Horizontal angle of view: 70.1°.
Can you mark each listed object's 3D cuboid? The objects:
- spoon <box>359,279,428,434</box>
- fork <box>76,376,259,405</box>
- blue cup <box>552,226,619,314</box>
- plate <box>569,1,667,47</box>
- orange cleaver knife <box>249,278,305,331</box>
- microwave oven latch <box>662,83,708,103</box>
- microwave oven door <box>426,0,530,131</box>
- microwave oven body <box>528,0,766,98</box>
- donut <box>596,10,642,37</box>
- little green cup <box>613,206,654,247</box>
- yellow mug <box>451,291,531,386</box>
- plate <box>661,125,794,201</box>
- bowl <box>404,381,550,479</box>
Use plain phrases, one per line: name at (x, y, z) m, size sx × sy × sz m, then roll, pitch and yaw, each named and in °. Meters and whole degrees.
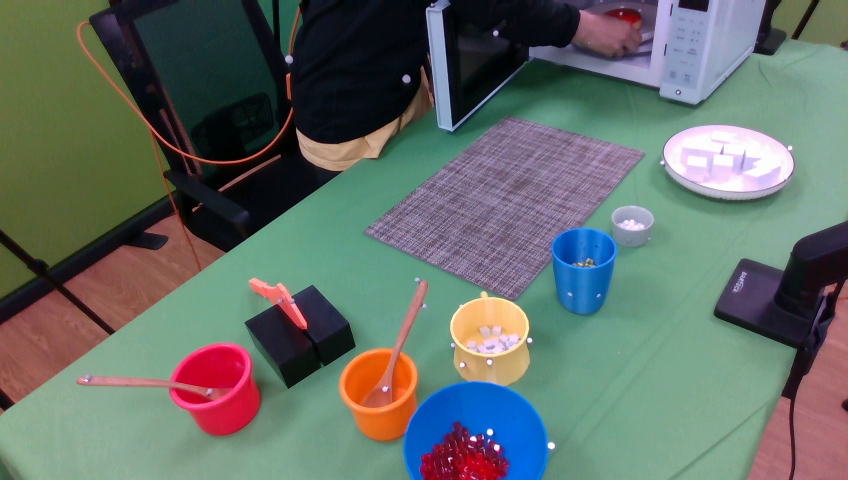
spoon at (-0.032, 0.138, 0.719) m, size 0.041 × 0.193 × 0.022 m, roll 22°, pitch 4°, yaw 30°
fork at (-0.295, 0.176, 0.716) m, size 0.209 × 0.018 × 0.028 m, roll 19°, pitch 27°, yaw -37°
blue cup at (0.218, 0.047, 0.825) m, size 0.092 × 0.101 × 0.092 m, roll -6°, pitch 40°, yaw 5°
plate at (0.432, -0.479, 1.352) m, size 0.209 × 0.038 × 0.208 m, roll -8°, pitch 39°, yaw 7°
orange cleaver knife at (-0.210, 0.088, 0.856) m, size 0.012 × 0.077 × 0.210 m, roll -28°, pitch 15°, yaw -25°
microwave oven latch at (0.519, -0.297, 1.204) m, size 0.078 × 0.029 × 0.030 m, roll 29°, pitch 53°, yaw 36°
microwave oven door at (0.124, -0.418, 1.250) m, size 0.039 × 0.245 × 0.356 m, roll 19°, pitch 47°, yaw 29°
microwave oven body at (0.472, -0.513, 1.317) m, size 0.438 × 0.261 × 0.327 m, roll 26°, pitch 51°, yaw 34°
donut at (0.432, -0.481, 1.344) m, size 0.099 × 0.048 × 0.098 m, roll -7°, pitch 35°, yaw 5°
little green cup at (0.322, -0.019, 0.936) m, size 0.061 × 0.039 × 0.061 m, roll -3°, pitch 41°, yaw 3°
yellow mug at (0.085, 0.120, 0.786) m, size 0.100 × 0.064 × 0.130 m, roll -7°, pitch 39°, yaw 1°
plate at (0.513, -0.128, 1.035) m, size 0.207 × 0.039 × 0.206 m, roll -4°, pitch 40°, yaw 4°
bowl at (0.058, 0.235, 0.645) m, size 0.151 × 0.077 × 0.150 m, roll -4°, pitch 39°, yaw 4°
